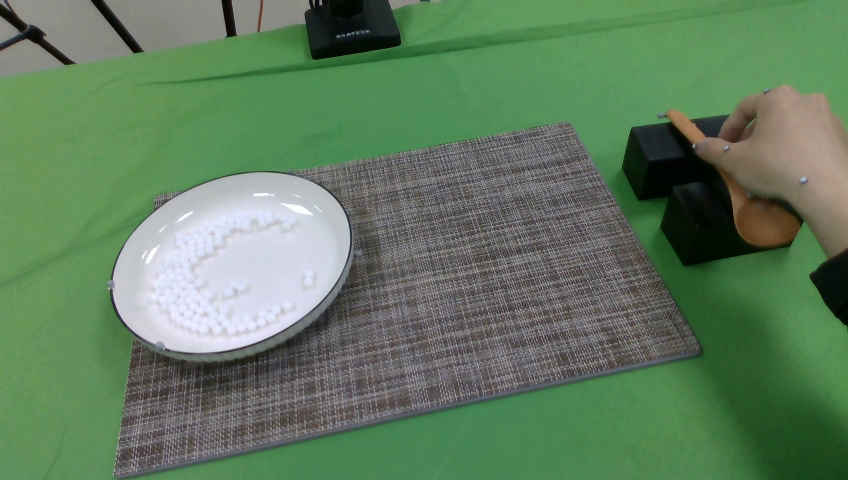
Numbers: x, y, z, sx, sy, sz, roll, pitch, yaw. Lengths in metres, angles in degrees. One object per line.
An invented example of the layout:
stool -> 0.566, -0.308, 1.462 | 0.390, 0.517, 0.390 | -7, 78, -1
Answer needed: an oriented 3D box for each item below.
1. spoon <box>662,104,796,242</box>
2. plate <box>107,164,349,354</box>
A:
spoon -> 0.252, -0.066, 0.521 | 0.041, 0.022, 0.191 | -26, 47, 12
plate -> -0.168, 0.015, 0.540 | 0.207, 0.039, 0.205 | -2, 49, 3
